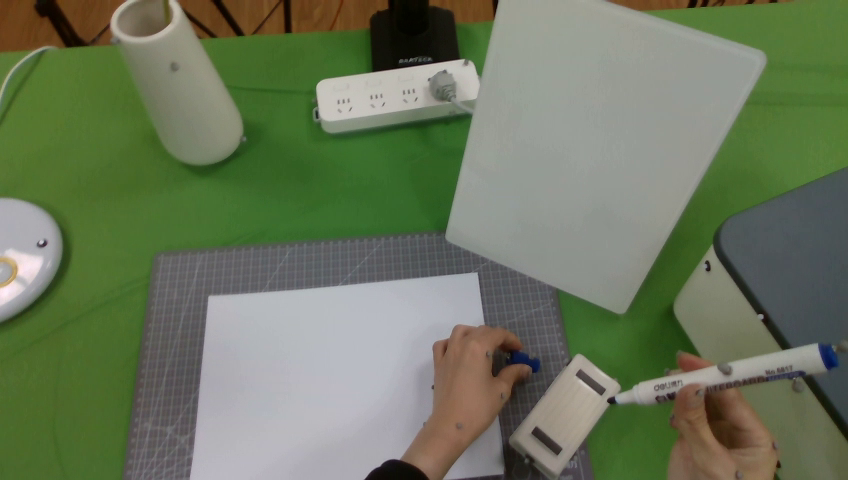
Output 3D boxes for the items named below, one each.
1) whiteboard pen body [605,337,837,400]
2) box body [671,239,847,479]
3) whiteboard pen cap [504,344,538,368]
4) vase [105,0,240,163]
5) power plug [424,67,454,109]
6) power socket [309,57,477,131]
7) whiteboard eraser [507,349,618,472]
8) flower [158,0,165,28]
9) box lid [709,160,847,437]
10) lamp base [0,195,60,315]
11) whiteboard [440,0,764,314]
[{"bbox_3d":[0.175,0.083,0.374,0.140,0.017,0.017,-26,53,38],"label":"whiteboard pen body"},{"bbox_3d":[0.433,0.123,0.546,0.254,0.161,0.360,-21,64,-11],"label":"box body"},{"bbox_3d":[0.099,0.118,0.613,0.033,0.018,0.018,21,61,-18],"label":"whiteboard pen cap"},{"bbox_3d":[-0.280,-0.175,0.684,0.098,0.201,0.097,-1,62,2],"label":"vase"},{"bbox_3d":[0.018,-0.183,0.756,0.035,0.053,0.072,0,68,0],"label":"power plug"},{"bbox_3d":[-0.037,-0.190,0.785,0.227,0.033,0.071,-9,63,-5],"label":"power socket"},{"bbox_3d":[0.135,0.165,0.590,0.055,0.042,0.112,37,69,19],"label":"whiteboard eraser"},{"bbox_3d":[-0.260,-0.208,0.609,0.038,0.362,0.044,43,60,2],"label":"flower"},{"bbox_3d":[0.431,0.086,0.481,0.263,0.015,0.368,-21,64,-10],"label":"box lid"},{"bbox_3d":[-0.505,-0.023,0.615,0.178,0.182,0.160,25,65,16],"label":"lamp base"},{"bbox_3d":[0.166,-0.109,0.623,0.216,0.308,0.143,24,44,13],"label":"whiteboard"}]
